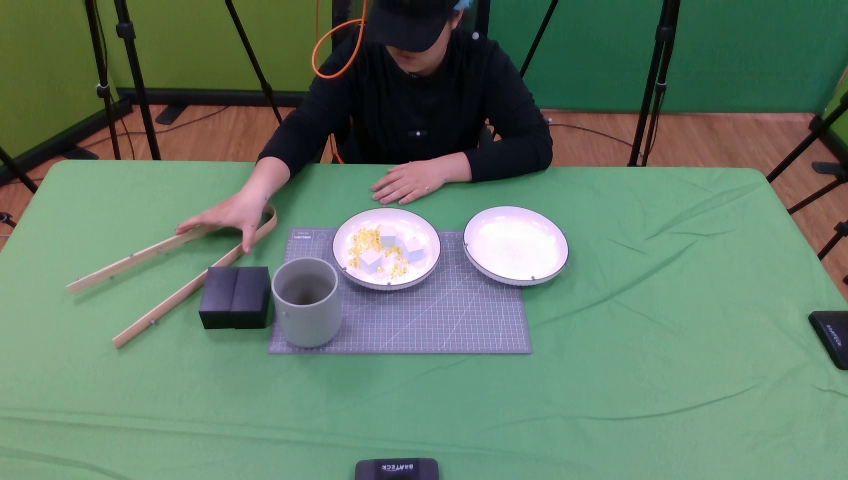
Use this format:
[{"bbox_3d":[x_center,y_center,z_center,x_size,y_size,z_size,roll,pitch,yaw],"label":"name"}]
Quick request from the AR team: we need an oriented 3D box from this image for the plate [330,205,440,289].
[{"bbox_3d":[-0.074,0.018,1.160,0.208,0.039,0.206,2,46,-2],"label":"plate"}]

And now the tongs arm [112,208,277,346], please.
[{"bbox_3d":[-0.400,0.058,1.108,0.028,0.028,0.387,25,49,23],"label":"tongs arm"}]

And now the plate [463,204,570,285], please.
[{"bbox_3d":[0.178,0.012,1.184,0.209,0.038,0.208,3,46,-3],"label":"plate"}]

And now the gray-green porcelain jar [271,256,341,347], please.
[{"bbox_3d":[-0.193,0.107,1.004,0.106,0.127,0.105,2,46,-2],"label":"gray-green porcelain jar"}]

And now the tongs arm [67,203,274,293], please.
[{"bbox_3d":[-0.461,0.013,1.142,0.385,0.026,0.050,-31,55,-31],"label":"tongs arm"}]
